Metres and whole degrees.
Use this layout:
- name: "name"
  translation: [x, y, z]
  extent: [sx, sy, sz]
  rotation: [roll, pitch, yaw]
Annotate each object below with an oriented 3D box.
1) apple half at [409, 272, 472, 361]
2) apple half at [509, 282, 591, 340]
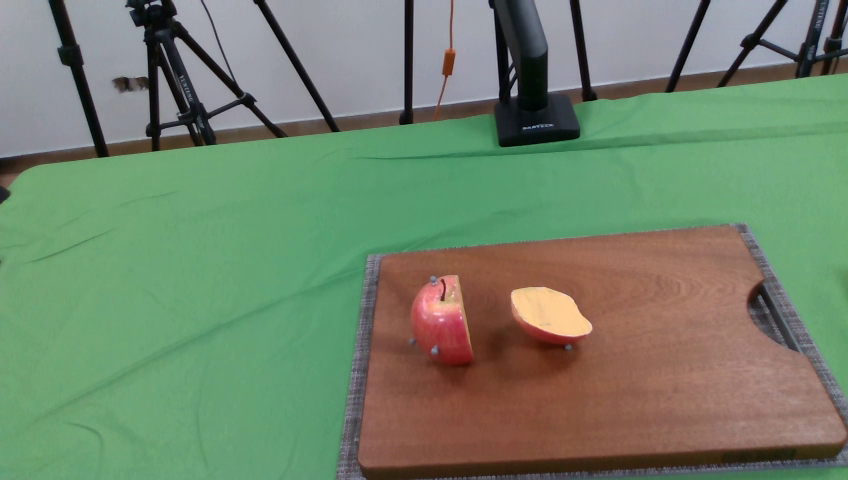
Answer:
- name: "apple half"
  translation: [0.014, 0.076, 0.572]
  extent: [0.053, 0.075, 0.080]
  rotation: [-13, 45, 3]
- name: "apple half"
  translation: [0.114, 0.074, 0.578]
  extent: [0.081, 0.033, 0.080]
  rotation: [12, 29, -6]
